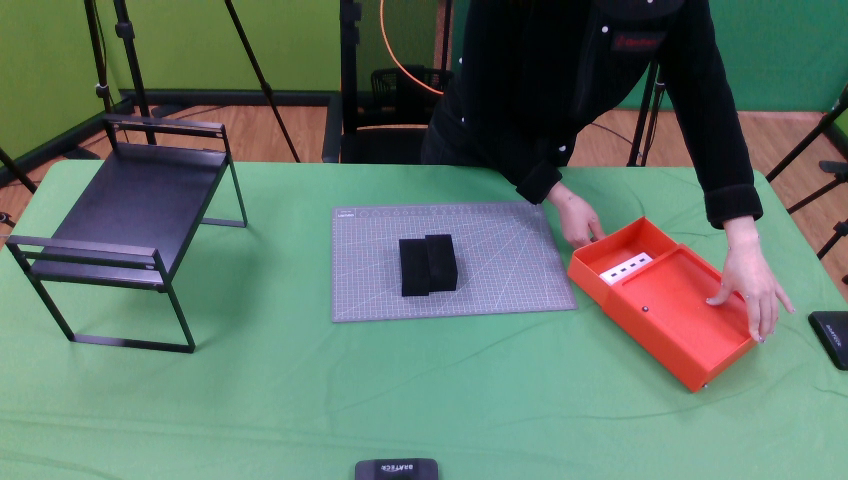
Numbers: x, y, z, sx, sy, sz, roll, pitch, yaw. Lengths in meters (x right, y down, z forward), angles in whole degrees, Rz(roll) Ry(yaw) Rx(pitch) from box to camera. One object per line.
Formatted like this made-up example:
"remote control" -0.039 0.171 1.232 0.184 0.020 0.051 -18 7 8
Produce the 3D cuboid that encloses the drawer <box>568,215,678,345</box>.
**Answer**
"drawer" 0.410 0.071 1.119 0.194 0.073 0.210 -24 53 -25

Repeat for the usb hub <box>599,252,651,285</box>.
"usb hub" 0.388 0.067 1.146 0.125 0.025 0.049 -24 55 -24

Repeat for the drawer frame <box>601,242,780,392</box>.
"drawer frame" 0.462 0.125 1.065 0.202 0.083 0.212 -26 54 -26
